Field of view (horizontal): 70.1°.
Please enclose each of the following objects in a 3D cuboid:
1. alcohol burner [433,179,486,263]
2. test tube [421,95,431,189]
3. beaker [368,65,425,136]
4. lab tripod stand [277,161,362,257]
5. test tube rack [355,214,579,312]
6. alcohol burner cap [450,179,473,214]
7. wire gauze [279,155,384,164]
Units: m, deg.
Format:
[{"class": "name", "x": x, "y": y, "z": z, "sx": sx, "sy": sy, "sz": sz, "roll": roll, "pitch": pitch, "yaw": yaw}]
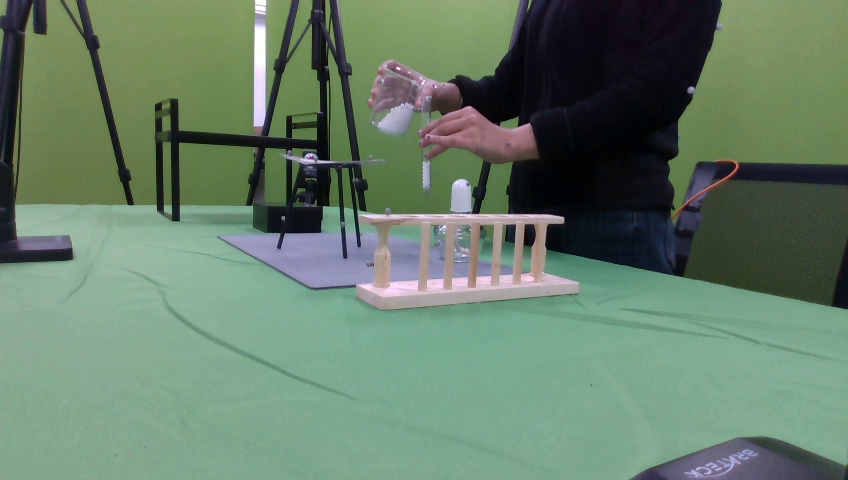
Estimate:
[{"class": "alcohol burner", "x": 0.051, "y": -0.028, "z": 0.862, "sx": 0.078, "sy": 0.119, "sz": 0.078, "roll": 1, "pitch": 6, "yaw": 0}, {"class": "test tube", "x": 0.003, "y": -0.156, "z": 0.967, "sx": 0.017, "sy": 0.150, "sz": 0.017, "roll": 0, "pitch": 1, "yaw": 0}, {"class": "beaker", "x": -0.047, "y": -0.233, "z": 1.019, "sx": 0.083, "sy": 0.100, "sz": 0.074, "roll": 36, "pitch": 28, "yaw": 32}, {"class": "lab tripod stand", "x": -0.142, "y": -0.049, "z": 0.884, "sx": 0.148, "sy": 0.131, "sz": 0.148, "roll": 1, "pitch": 9, "yaw": 0}, {"class": "test tube rack", "x": 0.053, "y": 0.018, "z": 0.640, "sx": 0.243, "sy": 0.085, "sz": 0.066, "roll": -1, "pitch": 9, "yaw": -29}, {"class": "alcohol burner cap", "x": 0.053, "y": -0.063, "z": 0.859, "sx": 0.034, "sy": 0.048, "sz": 0.034, "roll": 0, "pitch": 15, "yaw": 0}, {"class": "wire gauze", "x": -0.134, "y": -0.114, "z": 0.875, "sx": 0.122, "sy": 0.011, "sz": 0.124, "roll": -1, "pitch": 8, "yaw": -30}]
